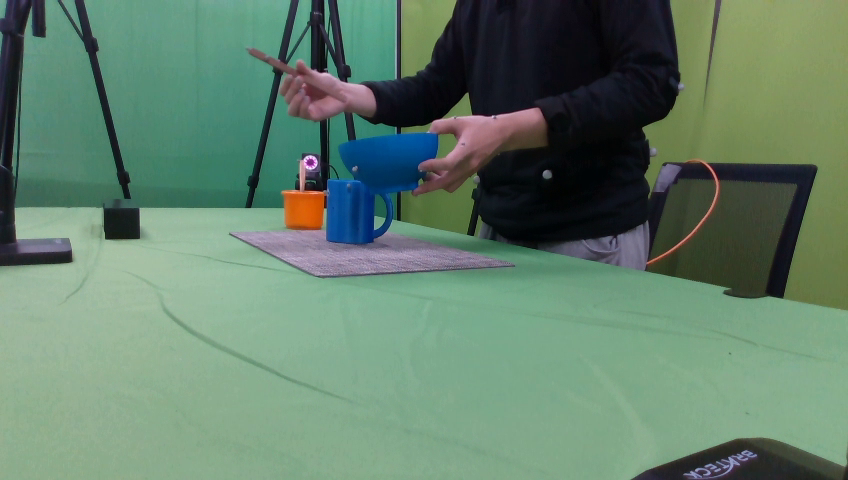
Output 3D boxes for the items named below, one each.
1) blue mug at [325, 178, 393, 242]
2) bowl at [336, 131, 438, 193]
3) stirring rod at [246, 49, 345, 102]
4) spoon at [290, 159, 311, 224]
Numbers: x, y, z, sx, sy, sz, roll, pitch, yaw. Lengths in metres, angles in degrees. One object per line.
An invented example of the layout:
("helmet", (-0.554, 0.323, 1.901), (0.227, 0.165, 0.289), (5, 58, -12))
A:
("blue mug", (-0.111, -0.052, 1.034), (0.116, 0.106, 0.082), (3, 7, 7))
("bowl", (-0.050, -0.111, 0.894), (0.151, 0.077, 0.151), (-7, 4, 1))
("stirring rod", (-0.213, -0.274, 1.008), (0.176, 0.014, 0.006), (26, -33, -7))
("spoon", (-0.256, -0.104, 1.265), (0.042, 0.193, 0.021), (0, -37, -9))
